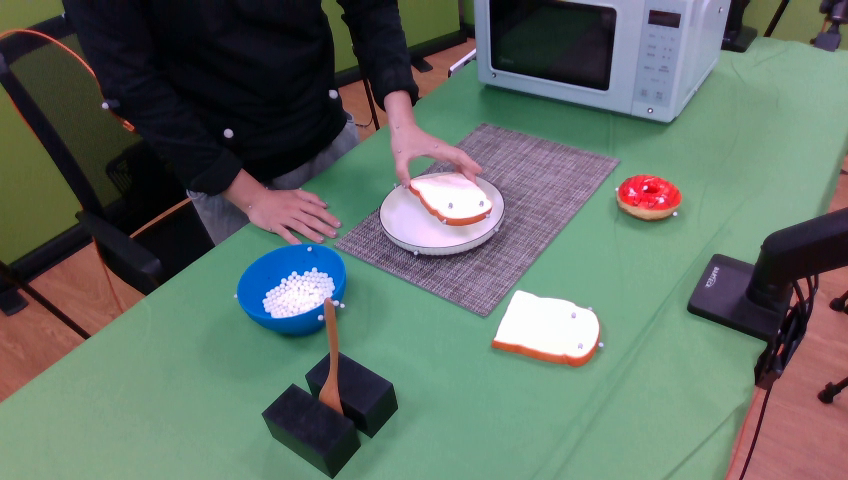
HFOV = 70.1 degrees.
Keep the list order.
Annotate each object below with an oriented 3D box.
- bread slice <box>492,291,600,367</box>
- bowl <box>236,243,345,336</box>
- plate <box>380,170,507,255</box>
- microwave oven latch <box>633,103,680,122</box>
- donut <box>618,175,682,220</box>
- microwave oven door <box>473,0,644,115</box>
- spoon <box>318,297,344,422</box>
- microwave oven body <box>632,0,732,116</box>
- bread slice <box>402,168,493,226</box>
[{"bbox_3d":[0.169,0.118,0.811,0.131,0.019,0.105,11,44,22],"label":"bread slice"},{"bbox_3d":[-0.180,0.082,0.855,0.151,0.077,0.150,-4,41,4],"label":"bowl"},{"bbox_3d":[0.033,-0.042,0.995,0.207,0.039,0.206,-4,40,4],"label":"plate"},{"bbox_3d":[0.444,-0.249,1.157,0.078,0.029,0.030,21,49,30],"label":"microwave oven latch"},{"bbox_3d":[0.366,-0.070,0.981,0.099,0.048,0.098,-3,39,3],"label":"donut"},{"bbox_3d":[0.257,-0.396,1.199,0.353,0.245,0.039,21,48,29],"label":"microwave oven door"},{"bbox_3d":[-0.107,0.139,0.687,0.041,0.194,0.022,27,37,31],"label":"spoon"},{"bbox_3d":[0.377,-0.463,1.267,0.438,0.261,0.327,21,49,30],"label":"microwave oven body"},{"bbox_3d":[0.044,-0.067,0.956,0.107,0.018,0.133,-20,43,-26],"label":"bread slice"}]
